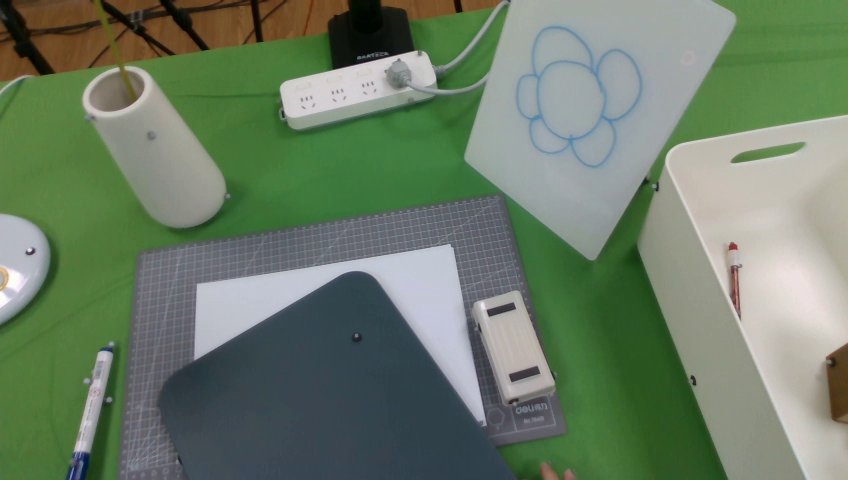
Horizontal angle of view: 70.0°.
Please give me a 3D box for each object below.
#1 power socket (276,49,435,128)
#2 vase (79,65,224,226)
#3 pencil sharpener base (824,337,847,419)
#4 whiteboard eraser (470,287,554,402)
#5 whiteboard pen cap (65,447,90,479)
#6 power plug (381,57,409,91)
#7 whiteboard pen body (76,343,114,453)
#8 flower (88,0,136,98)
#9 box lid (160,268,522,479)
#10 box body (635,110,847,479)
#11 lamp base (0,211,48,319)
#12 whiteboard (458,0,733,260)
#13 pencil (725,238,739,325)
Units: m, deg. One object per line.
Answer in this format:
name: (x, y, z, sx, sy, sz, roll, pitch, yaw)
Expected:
power socket: (-0.093, -0.209, 0.831, 0.227, 0.033, 0.071, -15, 61, -6)
vase: (-0.302, -0.100, 0.684, 0.098, 0.202, 0.097, -2, 60, 4)
pencil sharpener base: (0.430, 0.126, 0.561, 0.061, 0.108, 0.076, 10, 61, 8)
whiteboard eraser: (0.091, 0.108, 0.631, 0.055, 0.042, 0.111, -14, 60, -7)
whiteboard pen cap: (-0.342, 0.222, 0.598, 0.018, 0.018, 0.033, -5, 54, 1)
power plug: (-0.038, -0.210, 0.801, 0.035, 0.053, 0.072, -6, 61, 0)
whiteboard pen body: (-0.344, 0.173, 0.631, 0.017, 0.017, 0.139, -6, 56, 0)
flower: (-0.303, -0.157, 0.622, 0.038, 0.365, 0.043, -20, 43, -16)
box lid: (-0.080, 0.211, 0.591, 0.263, 0.015, 0.368, -31, 61, -14)
box body: (0.380, 0.076, 0.567, 0.254, 0.162, 0.360, -10, 60, -3)
lamp base: (-0.545, -0.008, 0.655, 0.178, 0.182, 0.160, 19, 62, 17)
whiteboard: (0.195, -0.170, 0.672, 0.144, 0.307, 0.215, -30, 60, -35)
pencil: (0.332, 0.085, 0.648, 0.012, 0.012, 0.192, 7, 64, 8)
